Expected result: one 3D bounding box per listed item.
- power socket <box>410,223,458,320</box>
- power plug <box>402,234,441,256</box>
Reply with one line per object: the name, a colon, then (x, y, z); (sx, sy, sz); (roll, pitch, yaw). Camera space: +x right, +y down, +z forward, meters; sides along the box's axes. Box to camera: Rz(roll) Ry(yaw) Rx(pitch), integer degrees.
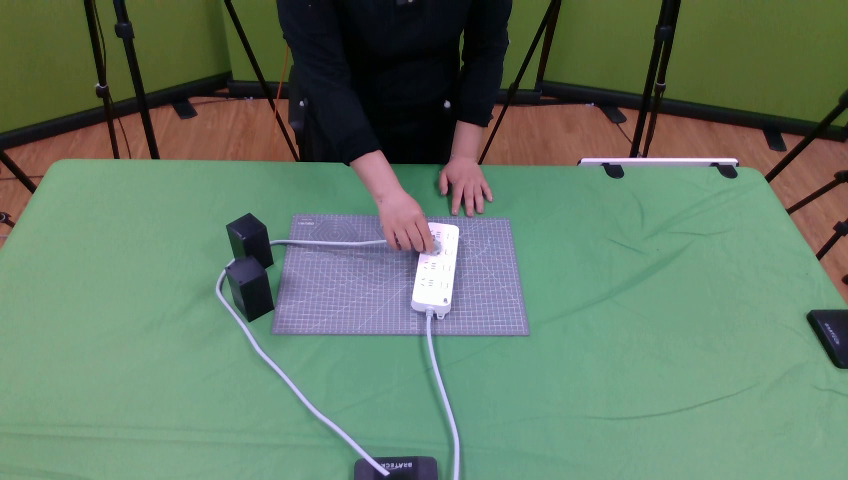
power socket: (0.022, 0.050, 1.139); (0.072, 0.033, 0.225); (7, 46, 4)
power plug: (-0.002, 0.010, 1.151); (0.072, 0.053, 0.035); (15, 47, 13)
